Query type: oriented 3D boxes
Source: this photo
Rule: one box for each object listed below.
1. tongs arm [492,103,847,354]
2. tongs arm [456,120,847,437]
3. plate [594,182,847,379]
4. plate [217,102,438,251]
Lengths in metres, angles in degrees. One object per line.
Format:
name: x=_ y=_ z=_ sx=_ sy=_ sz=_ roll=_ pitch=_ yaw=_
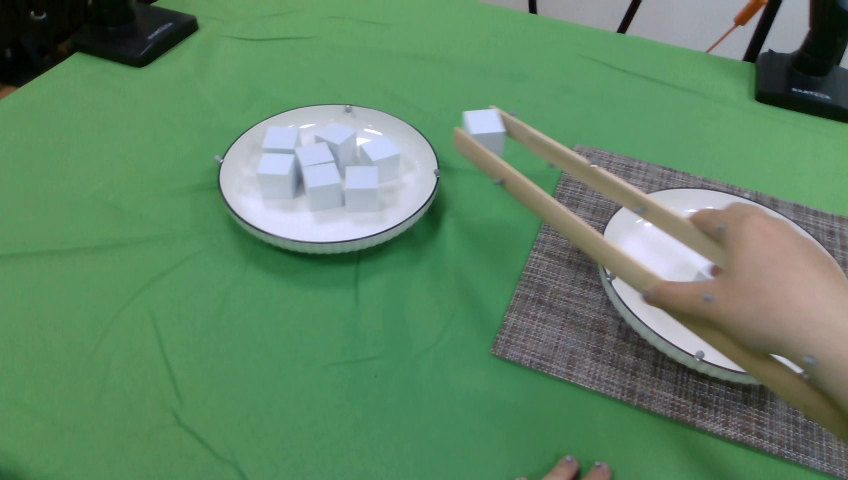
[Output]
tongs arm: x=0.173 y=-0.004 z=0.447 sx=0.051 sy=0.027 sz=0.381 roll=-34 pitch=55 yaw=-26
tongs arm: x=0.151 y=0.010 z=0.436 sx=0.028 sy=0.028 sz=0.383 roll=-29 pitch=53 yaw=-27
plate: x=0.247 y=0.032 z=0.521 sx=0.208 sy=0.039 sz=0.205 roll=2 pitch=47 yaw=-2
plate: x=-0.091 y=-0.062 z=0.591 sx=0.209 sy=0.038 sz=0.207 roll=2 pitch=46 yaw=-2
